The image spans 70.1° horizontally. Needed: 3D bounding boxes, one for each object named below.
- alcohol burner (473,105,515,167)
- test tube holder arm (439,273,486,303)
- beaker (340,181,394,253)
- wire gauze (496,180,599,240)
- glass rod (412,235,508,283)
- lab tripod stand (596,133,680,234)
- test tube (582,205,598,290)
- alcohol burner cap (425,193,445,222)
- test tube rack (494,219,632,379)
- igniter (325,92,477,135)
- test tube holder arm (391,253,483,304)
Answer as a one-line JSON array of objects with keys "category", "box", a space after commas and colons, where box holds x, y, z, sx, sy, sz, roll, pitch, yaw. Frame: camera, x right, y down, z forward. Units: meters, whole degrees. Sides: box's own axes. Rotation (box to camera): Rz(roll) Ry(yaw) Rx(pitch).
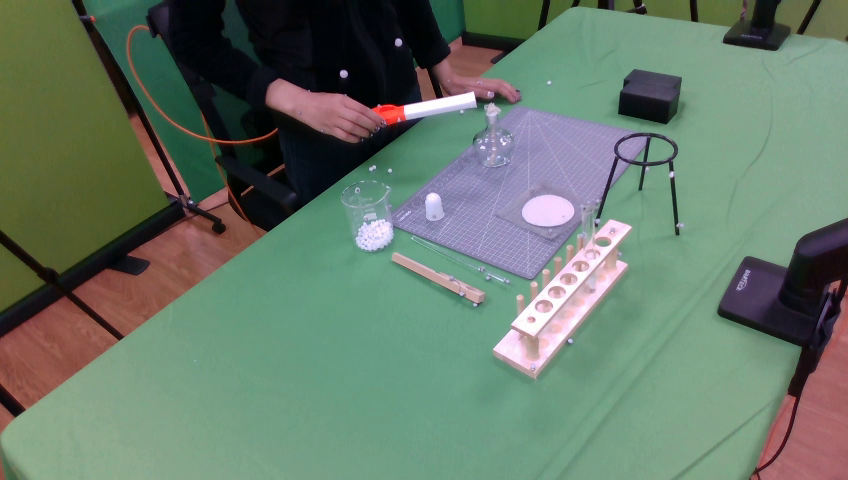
[{"category": "alcohol burner", "box": [0.128, -0.196, 1.116, 0.078, 0.119, 0.077, -4, 40, 4]}, {"category": "test tube holder arm", "box": [0.053, 0.070, 0.896, 0.087, 0.015, 0.010, 24, 17, 34]}, {"category": "beaker", "box": [-0.087, -0.037, 0.985, 0.084, 0.101, 0.073, -18, 41, -11]}, {"category": "wire gauze", "box": [0.206, -0.050, 1.012, 0.125, 0.011, 0.120, -34, 45, -26]}, {"category": "glass rod", "box": [0.051, 0.028, 0.951, 0.198, 0.008, 0.008, 25, 51, 37]}, {"category": "lab tripod stand", "box": [0.338, -0.090, 0.940, 0.148, 0.132, 0.147, -7, 39, 6]}, {"category": "test tube", "box": [0.220, 0.014, 0.798, 0.017, 0.151, 0.017, -9, 43, 9]}, {"category": "alcohol burner cap", "box": [0.017, -0.058, 1.029, 0.034, 0.048, 0.033, -6, 40, 5]}, {"category": "test tube rack", "box": [0.191, 0.068, 0.818, 0.066, 0.085, 0.243, 25, 51, 35]}, {"category": "igniter", "box": [-0.044, -0.226, 1.080, 0.276, 0.025, 0.057, -9, 46, 6]}, {"category": "test tube holder arm", "box": [0.016, 0.056, 0.917, 0.177, 0.015, 0.013, 24, 17, 34]}]
